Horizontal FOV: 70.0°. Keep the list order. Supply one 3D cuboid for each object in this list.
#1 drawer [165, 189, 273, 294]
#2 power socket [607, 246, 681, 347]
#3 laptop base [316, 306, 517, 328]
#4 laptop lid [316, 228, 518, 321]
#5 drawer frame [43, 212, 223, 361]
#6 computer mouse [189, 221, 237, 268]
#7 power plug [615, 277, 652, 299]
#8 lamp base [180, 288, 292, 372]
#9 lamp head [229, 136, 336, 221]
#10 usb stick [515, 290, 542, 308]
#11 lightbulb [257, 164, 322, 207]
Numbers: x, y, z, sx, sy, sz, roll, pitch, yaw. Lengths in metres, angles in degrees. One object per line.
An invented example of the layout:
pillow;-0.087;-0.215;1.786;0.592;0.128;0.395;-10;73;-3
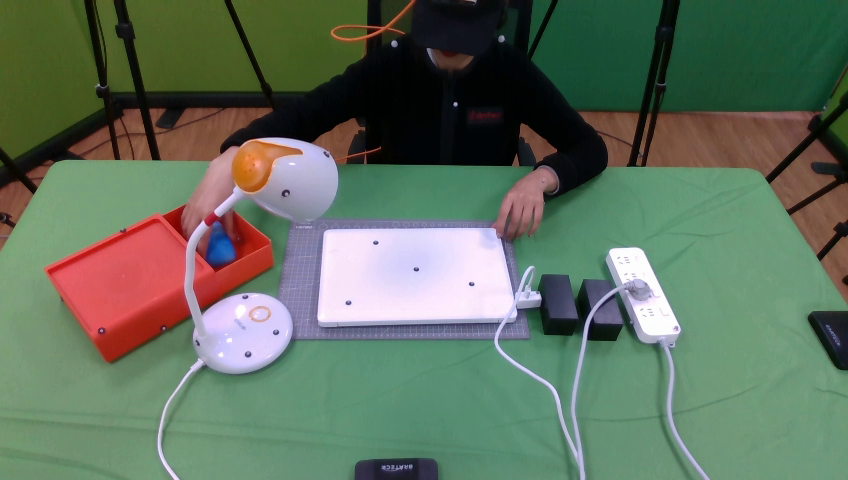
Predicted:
drawer;-0.419;0.022;1.108;0.193;0.073;0.211;37;55;27
power socket;0.403;0.096;1.123;0.072;0.033;0.225;-3;47;-5
laptop base;-0.017;0.067;1.133;0.355;0.023;0.234;-1;42;-5
laptop lid;-0.016;0.057;1.126;0.357;0.013;0.240;0;43;-4
drawer frame;-0.497;0.073;1.049;0.213;0.083;0.200;-34;57;-31
computer mouse;-0.401;0.003;1.147;0.063;0.041;0.116;-22;47;-22
power plug;0.375;0.088;1.097;0.072;0.053;0.035;5;46;2
lamp base;-0.309;0.108;0.959;0.160;0.181;0.179;29;55;22
lamp head;-0.196;-0.085;0.791;0.112;0.112;0.123;35;14;27
usb stick;0.181;0.107;1.089;0.059;0.027;0.021;-6;47;-4
lightbulb;-0.181;-0.078;0.810;0.059;0.059;0.108;37;11;28
